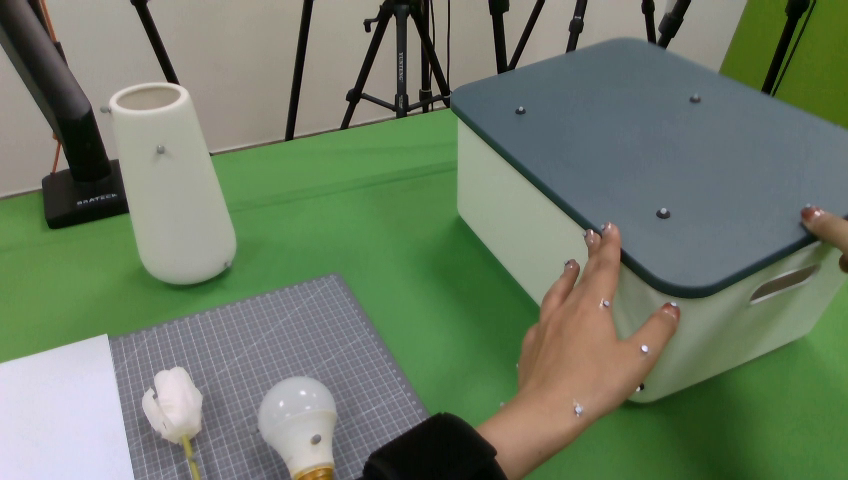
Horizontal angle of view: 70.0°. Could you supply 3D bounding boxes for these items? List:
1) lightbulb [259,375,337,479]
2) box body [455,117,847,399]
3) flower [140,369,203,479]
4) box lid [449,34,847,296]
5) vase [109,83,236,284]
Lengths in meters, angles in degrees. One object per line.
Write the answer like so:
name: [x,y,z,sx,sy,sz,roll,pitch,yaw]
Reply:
lightbulb: [-0.091,0.155,0.467,0.060,0.060,0.106,-13,55,-19]
box body: [0.216,-0.033,0.644,0.255,0.162,0.359,-15,40,-21]
flower: [-0.128,0.225,0.404,0.044,0.038,0.357,-40,52,-3]
box lid: [0.213,-0.102,0.578,0.263,0.015,0.367,-23,43,-16]
vase: [-0.254,-0.052,0.613,0.098,0.201,0.097,0,37,0]
